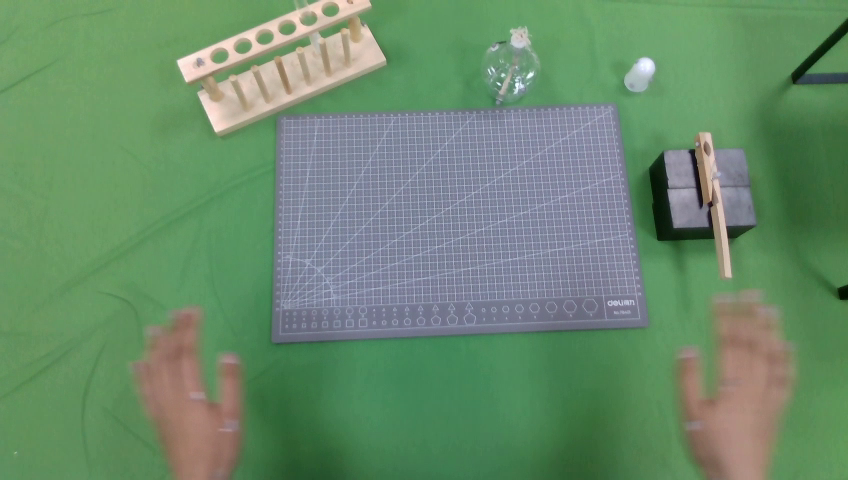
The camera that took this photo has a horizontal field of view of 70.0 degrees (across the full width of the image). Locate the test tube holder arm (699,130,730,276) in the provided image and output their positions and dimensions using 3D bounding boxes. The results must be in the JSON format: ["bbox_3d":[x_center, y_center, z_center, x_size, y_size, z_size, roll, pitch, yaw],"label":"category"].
[{"bbox_3d":[0.341,-0.046,0.715,0.013,0.015,0.177,-4,76,-3],"label":"test tube holder arm"}]

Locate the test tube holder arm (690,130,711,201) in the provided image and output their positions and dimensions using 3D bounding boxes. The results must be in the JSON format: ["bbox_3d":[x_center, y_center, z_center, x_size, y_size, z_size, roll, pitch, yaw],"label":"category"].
[{"bbox_3d":[0.332,-0.089,0.726,0.010,0.015,0.087,-3,76,-3],"label":"test tube holder arm"}]

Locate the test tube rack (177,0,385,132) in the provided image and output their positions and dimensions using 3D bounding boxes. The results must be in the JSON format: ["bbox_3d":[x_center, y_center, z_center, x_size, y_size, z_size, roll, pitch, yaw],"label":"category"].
[{"bbox_3d":[-0.175,-0.231,0.772,0.242,0.085,0.066,-26,76,-8],"label":"test tube rack"}]

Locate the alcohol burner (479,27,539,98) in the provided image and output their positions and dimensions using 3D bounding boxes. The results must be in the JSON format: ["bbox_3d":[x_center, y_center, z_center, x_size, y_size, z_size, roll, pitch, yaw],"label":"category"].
[{"bbox_3d":[0.110,-0.231,0.763,0.078,0.119,0.077,0,75,-1],"label":"alcohol burner"}]

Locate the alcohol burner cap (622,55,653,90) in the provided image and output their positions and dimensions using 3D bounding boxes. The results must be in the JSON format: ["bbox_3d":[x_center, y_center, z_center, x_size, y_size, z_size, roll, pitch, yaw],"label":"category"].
[{"bbox_3d":[0.284,-0.224,0.801,0.034,0.048,0.033,0,73,1],"label":"alcohol burner cap"}]

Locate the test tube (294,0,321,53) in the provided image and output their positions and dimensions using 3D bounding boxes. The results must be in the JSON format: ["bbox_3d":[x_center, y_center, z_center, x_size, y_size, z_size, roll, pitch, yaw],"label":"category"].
[{"bbox_3d":[-0.146,-0.282,0.733,0.017,0.151,0.017,-3,64,7],"label":"test tube"}]
